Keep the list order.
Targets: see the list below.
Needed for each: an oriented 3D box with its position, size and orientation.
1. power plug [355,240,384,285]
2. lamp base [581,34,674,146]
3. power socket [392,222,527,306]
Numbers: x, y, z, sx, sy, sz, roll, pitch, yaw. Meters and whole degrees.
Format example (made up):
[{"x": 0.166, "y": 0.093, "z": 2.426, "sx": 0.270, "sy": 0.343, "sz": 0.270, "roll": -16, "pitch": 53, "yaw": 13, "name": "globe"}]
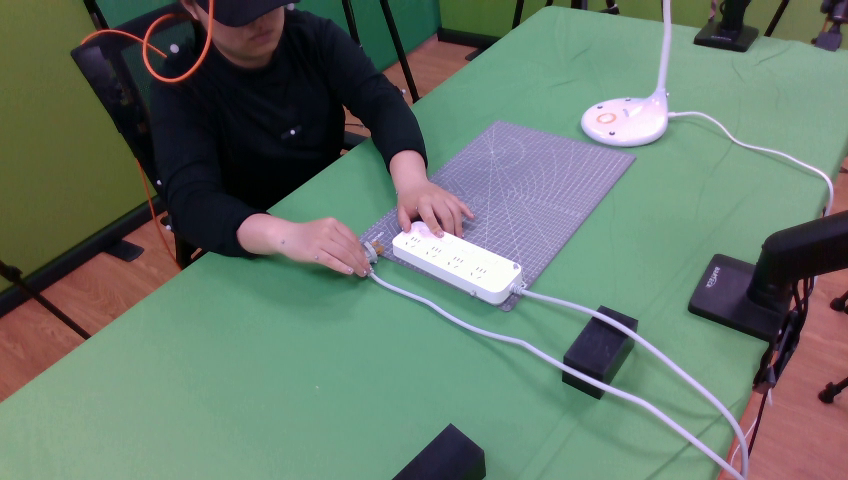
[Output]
[{"x": -0.077, "y": 0.034, "z": 0.947, "sx": 0.053, "sy": 0.035, "sz": 0.072, "roll": -31, "pitch": 81, "yaw": -20, "name": "power plug"}, {"x": 0.392, "y": -0.291, "z": 1.129, "sx": 0.180, "sy": 0.181, "sz": 0.159, "roll": -11, "pitch": 41, "yaw": -8, "name": "lamp base"}, {"x": 0.047, "y": 0.032, "z": 0.913, "sx": 0.225, "sy": 0.033, "sz": 0.072, "roll": 25, "pitch": 51, "yaw": 33, "name": "power socket"}]
